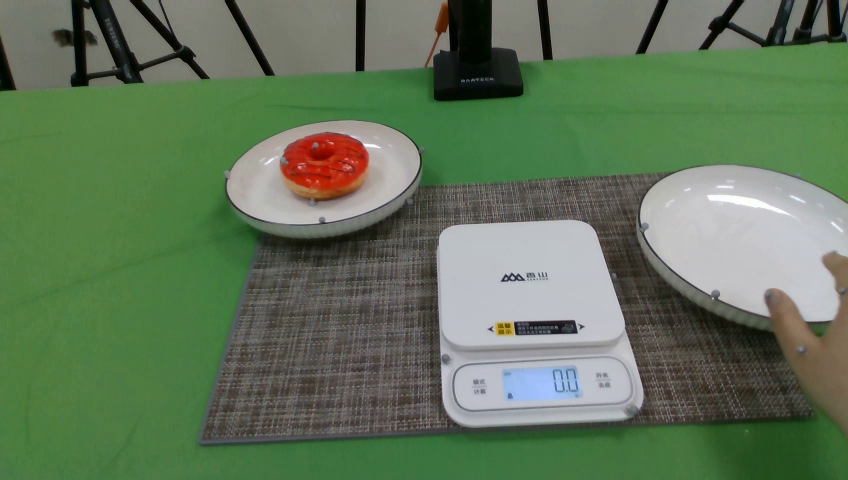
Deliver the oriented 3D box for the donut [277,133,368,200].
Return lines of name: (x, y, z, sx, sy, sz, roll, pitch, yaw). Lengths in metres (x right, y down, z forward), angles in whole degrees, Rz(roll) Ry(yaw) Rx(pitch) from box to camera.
donut: (-0.109, -0.080, 0.658, 0.099, 0.049, 0.098, -2, 40, 2)

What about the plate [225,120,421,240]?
plate: (-0.106, -0.065, 0.657, 0.209, 0.038, 0.207, -3, 40, 3)

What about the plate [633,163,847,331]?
plate: (0.292, 0.005, 0.544, 0.208, 0.039, 0.205, -1, 42, 1)

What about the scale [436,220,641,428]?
scale: (0.086, 0.059, 0.505, 0.148, 0.032, 0.199, -3, 42, 2)
